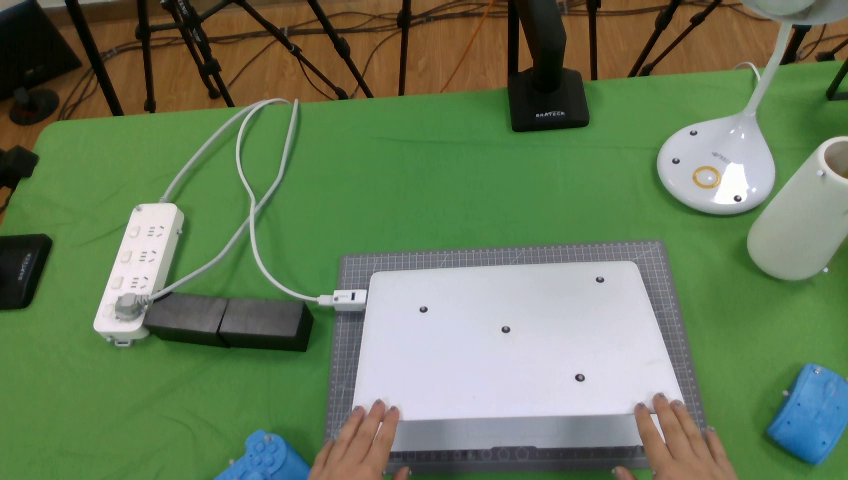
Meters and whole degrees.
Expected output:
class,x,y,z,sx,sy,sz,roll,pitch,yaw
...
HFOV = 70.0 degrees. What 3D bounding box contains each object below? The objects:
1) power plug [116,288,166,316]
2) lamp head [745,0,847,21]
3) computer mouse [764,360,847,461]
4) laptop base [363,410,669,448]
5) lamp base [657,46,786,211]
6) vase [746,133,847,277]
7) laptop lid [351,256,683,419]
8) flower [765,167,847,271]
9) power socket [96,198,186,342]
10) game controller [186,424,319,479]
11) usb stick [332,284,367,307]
class,x,y,z,sx,sy,sz,roll,pitch,yaw
power plug,-0.375,0.088,0.807,0.072,0.053,0.035,9,60,9
lamp head,0.350,-0.273,0.536,0.112,0.113,0.122,25,82,19
computer mouse,0.440,0.188,0.683,0.062,0.041,0.117,35,64,27
laptop base,0.104,0.137,0.759,0.354,0.023,0.233,-3,62,4
lamp base,0.418,-0.158,0.811,0.159,0.182,0.178,28,63,21
vase,0.461,-0.037,0.722,0.098,0.202,0.097,-4,57,6
laptop lid,0.098,0.106,0.720,0.356,0.013,0.239,-2,41,6
flower,0.469,-0.088,0.655,0.038,0.364,0.043,-6,47,-17
power socket,-0.399,0.034,0.864,0.072,0.033,0.224,0,58,5
game controller,-0.207,0.282,0.688,0.155,0.052,0.096,-36,59,-16
usb stick,-0.090,0.074,0.801,0.059,0.027,0.021,-2,55,2
